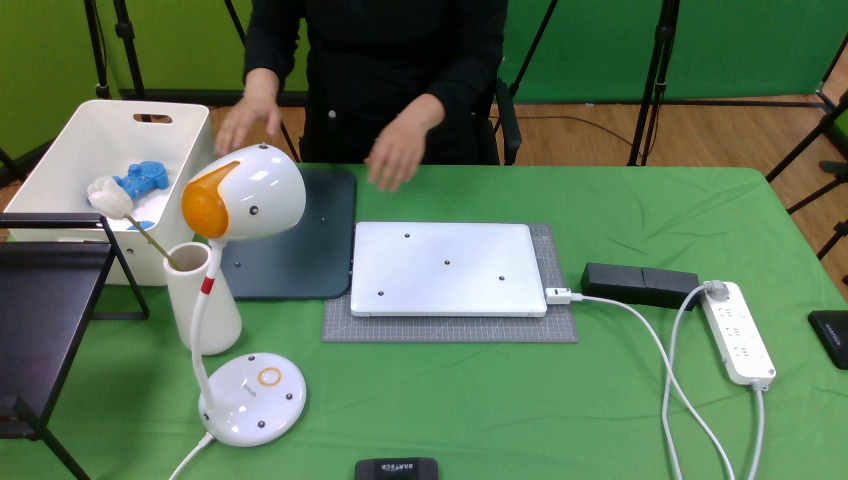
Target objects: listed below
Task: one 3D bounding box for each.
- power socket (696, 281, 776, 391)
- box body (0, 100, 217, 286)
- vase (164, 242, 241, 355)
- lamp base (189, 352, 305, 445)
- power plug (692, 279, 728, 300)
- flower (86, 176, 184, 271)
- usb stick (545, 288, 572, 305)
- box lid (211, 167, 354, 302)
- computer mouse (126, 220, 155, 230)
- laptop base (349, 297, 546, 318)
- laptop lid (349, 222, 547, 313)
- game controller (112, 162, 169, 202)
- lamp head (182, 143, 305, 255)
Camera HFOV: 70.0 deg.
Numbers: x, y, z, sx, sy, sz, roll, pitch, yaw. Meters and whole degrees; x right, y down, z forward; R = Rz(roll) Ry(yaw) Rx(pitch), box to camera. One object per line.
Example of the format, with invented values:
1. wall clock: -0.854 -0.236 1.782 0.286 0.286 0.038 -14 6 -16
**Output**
1. power socket: 0.550 0.160 1.078 0.072 0.033 0.225 2 46 -1
2. box body: -0.559 -0.092 1.145 0.254 0.161 0.361 3 46 -2
3. vase: -0.349 0.096 0.954 0.098 0.201 0.097 3 47 -3
4. lamp base: -0.268 0.196 0.876 0.160 0.181 0.179 26 52 20
5. power plug: 0.522 0.091 1.116 0.072 0.053 0.035 10 47 8
6. flower: -0.365 0.038 0.894 0.038 0.364 0.044 -4 53 15
7. usb stick: 0.236 0.102 1.101 0.059 0.027 0.021 -2 47 2
8. box lid: -0.276 -0.024 1.205 0.263 0.015 0.369 0 46 -4
9. computer mouse: -0.537 0.008 1.127 0.062 0.041 0.117 32 56 20
10. laptop base: 0.041 0.055 1.149 0.355 0.023 0.234 0 43 -4
11. laptop lid: 0.041 0.046 1.143 0.357 0.013 0.240 2 44 -3
12. game controller: -0.597 -0.113 1.234 0.097 0.052 0.155 29 51 20
13. lamp head: -0.216 -0.044 0.697 0.112 0.113 0.123 23 31 17
